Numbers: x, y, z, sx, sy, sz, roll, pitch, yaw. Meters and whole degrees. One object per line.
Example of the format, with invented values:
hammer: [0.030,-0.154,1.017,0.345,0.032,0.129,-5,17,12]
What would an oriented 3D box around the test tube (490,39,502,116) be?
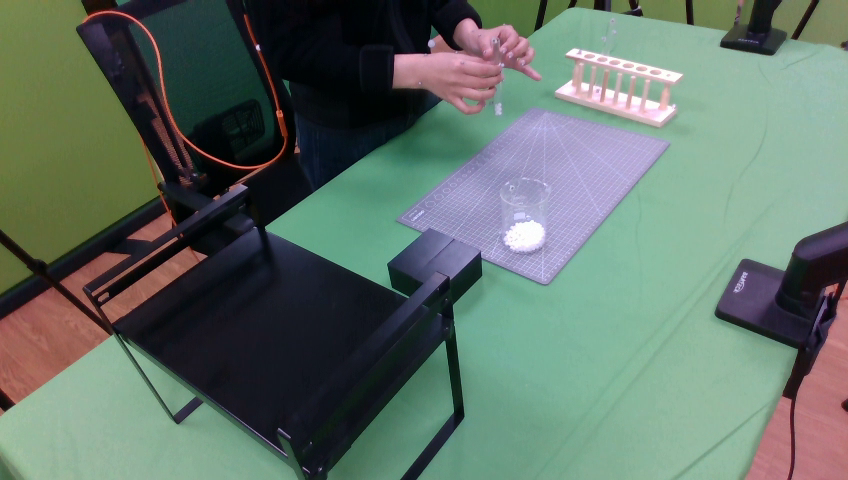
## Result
test tube: [0.125,-0.275,1.038,0.017,0.151,0.017,-5,48,6]

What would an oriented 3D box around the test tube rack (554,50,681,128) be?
test tube rack: [0.387,-0.311,1.234,0.240,0.085,0.067,28,52,35]

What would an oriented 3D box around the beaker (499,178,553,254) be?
beaker: [0.158,-0.036,0.929,0.084,0.100,0.073,-16,41,-12]

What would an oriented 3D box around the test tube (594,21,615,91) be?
test tube: [0.367,-0.372,1.232,0.017,0.151,0.017,0,43,0]
